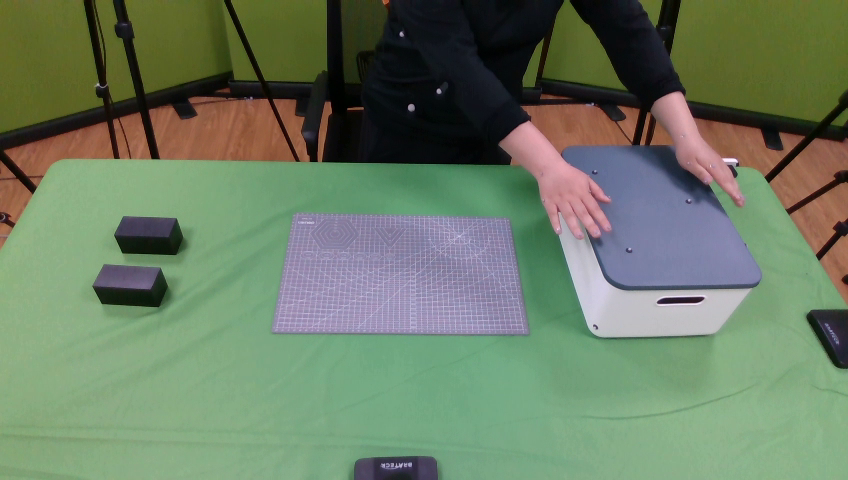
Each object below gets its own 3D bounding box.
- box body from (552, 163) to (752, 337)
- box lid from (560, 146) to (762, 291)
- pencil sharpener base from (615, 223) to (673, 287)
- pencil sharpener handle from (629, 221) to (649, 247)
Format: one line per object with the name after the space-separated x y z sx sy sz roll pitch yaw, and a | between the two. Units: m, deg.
0.401 -0.001 1.131 0.254 0.161 0.361 -1 46 -5 | box body
0.404 -0.052 1.076 0.263 0.015 0.369 -1 45 -5 | box lid
0.408 0.027 1.135 0.061 0.107 0.076 -2 45 -5 | pencil sharpener base
0.406 -0.018 1.161 0.036 0.068 0.030 -6 46 -1 | pencil sharpener handle
